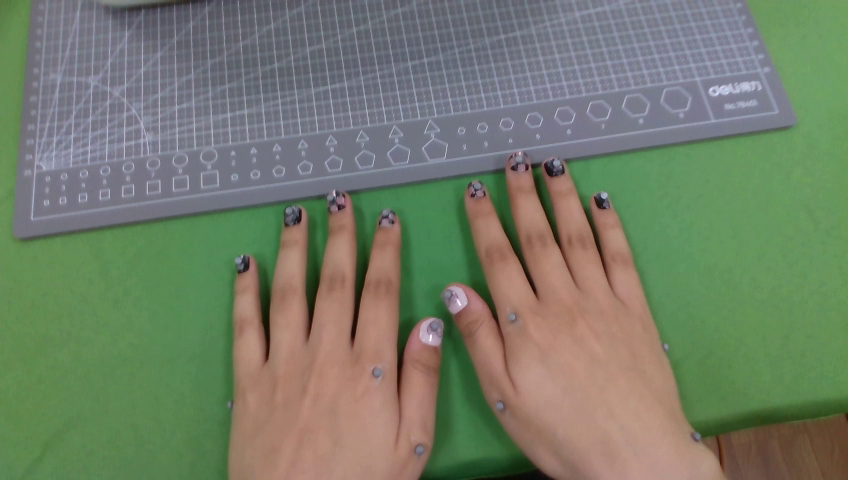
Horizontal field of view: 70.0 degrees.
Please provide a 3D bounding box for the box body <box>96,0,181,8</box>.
[{"bbox_3d":[-0.060,-0.302,0.355,0.364,0.161,0.252,-10,70,-3],"label":"box body"}]
